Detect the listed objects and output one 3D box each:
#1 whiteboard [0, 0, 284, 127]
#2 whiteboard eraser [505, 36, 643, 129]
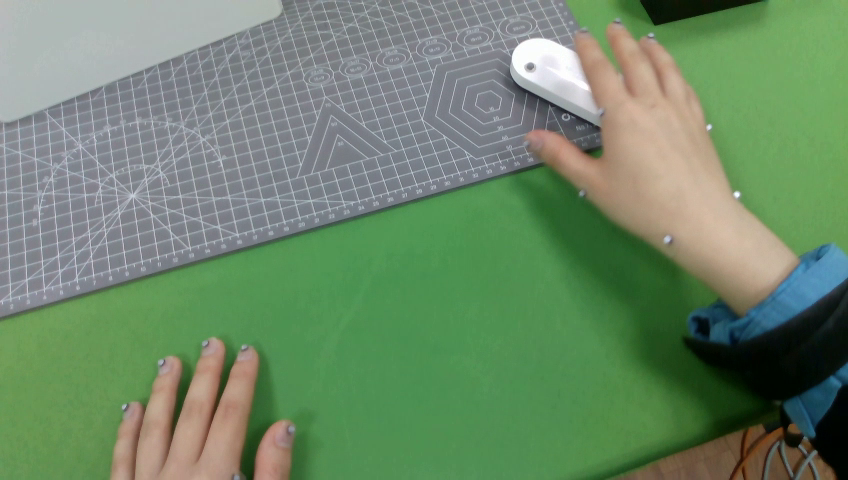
[{"bbox_3d":[-0.256,-0.269,0.376,0.217,0.308,0.142,-26,48,-11],"label":"whiteboard"},{"bbox_3d":[0.105,-0.112,0.429,0.101,0.019,0.041,32,69,15],"label":"whiteboard eraser"}]
